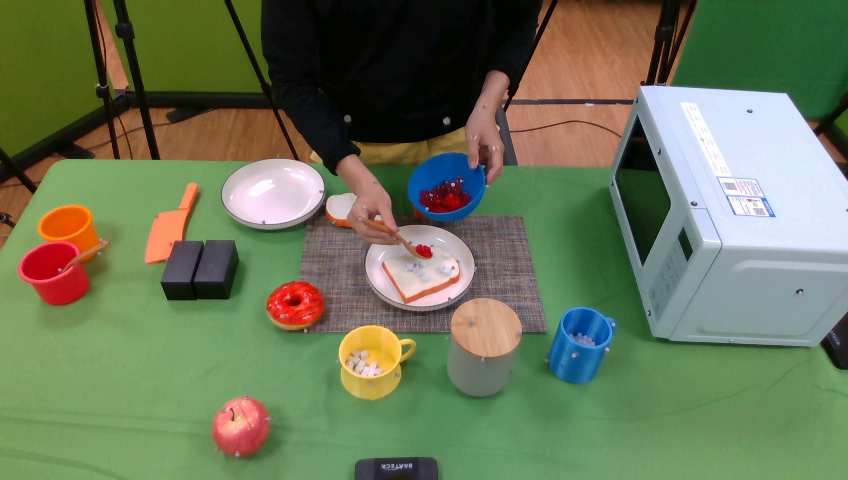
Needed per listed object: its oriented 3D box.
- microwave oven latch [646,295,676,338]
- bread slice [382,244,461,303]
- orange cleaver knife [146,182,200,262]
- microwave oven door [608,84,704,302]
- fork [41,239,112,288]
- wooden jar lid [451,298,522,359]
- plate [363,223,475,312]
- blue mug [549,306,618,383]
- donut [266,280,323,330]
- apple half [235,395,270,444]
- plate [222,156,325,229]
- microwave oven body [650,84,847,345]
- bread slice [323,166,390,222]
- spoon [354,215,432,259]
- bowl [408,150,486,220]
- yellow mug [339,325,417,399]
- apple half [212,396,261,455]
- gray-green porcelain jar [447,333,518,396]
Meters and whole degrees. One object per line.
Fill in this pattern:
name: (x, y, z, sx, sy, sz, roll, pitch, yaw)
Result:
microwave oven latch: (0.413, 0.133, 1.060, 0.030, 0.029, 0.078, 4, 46, 1)
bread slice: (0.001, 0.054, 1.129, 0.131, 0.019, 0.104, -20, 52, -19)
orange cleaver knife: (-0.494, -0.039, 1.198, 0.077, 0.012, 0.210, -3, 48, 2)
microwave oven door: (0.424, -0.096, 1.138, 0.039, 0.245, 0.353, 2, 47, -1)
fork: (-0.591, 0.040, 1.028, 0.207, 0.019, 0.028, -27, 37, 29)
wooden jar lid: (0.093, 0.135, 0.914, 0.108, 0.021, 0.107, 3, 48, -3)
plate: (-0.009, 0.054, 1.126, 0.208, 0.039, 0.206, 2, 46, -2)
blue mug: (0.269, 0.167, 0.997, 0.116, 0.106, 0.082, -19, 51, -21)
donut: (-0.223, 0.113, 1.051, 0.099, 0.048, 0.098, 2, 45, -2)
apple half: (-0.245, 0.260, 0.893, 0.033, 0.082, 0.081, -29, 55, -22)
plate: (-0.308, -0.095, 1.251, 0.209, 0.038, 0.208, 3, 47, -3)
microwave oven body: (0.569, -0.054, 1.115, 0.326, 0.261, 0.439, 2, 46, -1)
bread slice: (-0.140, -0.092, 1.224, 0.134, 0.018, 0.106, -19, 51, 6)
spoon: (-0.050, -0.007, 1.034, 0.021, 0.195, 0.041, -47, 47, 9)
bowl: (0.051, -0.091, 1.164, 0.151, 0.077, 0.150, -8, 56, 12)
yellow mug: (-0.072, 0.190, 0.978, 0.131, 0.064, 0.099, -17, 50, -20)
apple half: (-0.276, 0.276, 0.877, 0.053, 0.075, 0.080, -29, 58, -21)
gray-green porcelain jar: (0.091, 0.178, 0.960, 0.106, 0.127, 0.105, 2, 46, -2)
